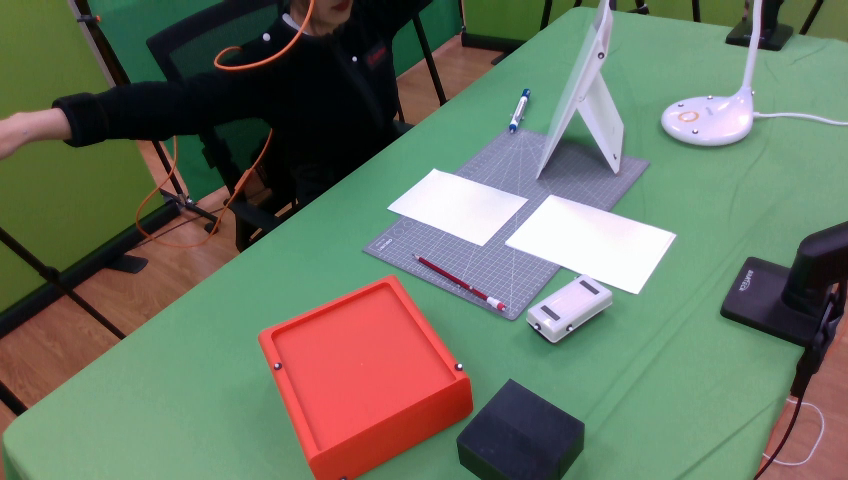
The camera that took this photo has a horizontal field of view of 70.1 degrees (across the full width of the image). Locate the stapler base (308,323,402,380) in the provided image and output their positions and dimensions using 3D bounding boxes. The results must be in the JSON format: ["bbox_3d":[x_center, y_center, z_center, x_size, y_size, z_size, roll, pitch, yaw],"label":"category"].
[{"bbox_3d":[-0.094,0.142,0.812,0.131,0.024,0.041,-24,29,-17],"label":"stapler base"}]

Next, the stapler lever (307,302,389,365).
[{"bbox_3d":[-0.101,0.121,0.799,0.118,0.040,0.026,-25,30,-16],"label":"stapler lever"}]

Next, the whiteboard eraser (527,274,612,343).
[{"bbox_3d":[0.198,0.094,0.820,0.113,0.042,0.055,-30,43,-22],"label":"whiteboard eraser"}]

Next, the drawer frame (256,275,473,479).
[{"bbox_3d":[-0.078,0.164,0.756,0.202,0.083,0.211,-23,43,-17],"label":"drawer frame"}]

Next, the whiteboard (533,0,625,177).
[{"bbox_3d":[0.321,-0.258,1.049,0.144,0.306,0.217,20,45,4],"label":"whiteboard"}]

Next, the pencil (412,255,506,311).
[{"bbox_3d":[0.047,0.060,0.906,0.012,0.012,0.192,-37,46,-29],"label":"pencil"}]

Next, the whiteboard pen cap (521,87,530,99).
[{"bbox_3d":[0.218,-0.313,1.301,0.018,0.018,0.033,7,47,18],"label":"whiteboard pen cap"}]

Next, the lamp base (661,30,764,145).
[{"bbox_3d":[0.535,-0.287,1.096,0.179,0.181,0.159,-10,40,-4],"label":"lamp base"}]

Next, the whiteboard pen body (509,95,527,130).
[{"bbox_3d":[0.199,-0.273,1.261,0.017,0.017,0.140,7,44,19],"label":"whiteboard pen body"}]

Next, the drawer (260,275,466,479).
[{"bbox_3d":[-0.080,0.163,0.760,0.195,0.073,0.210,-22,42,-16],"label":"drawer"}]
